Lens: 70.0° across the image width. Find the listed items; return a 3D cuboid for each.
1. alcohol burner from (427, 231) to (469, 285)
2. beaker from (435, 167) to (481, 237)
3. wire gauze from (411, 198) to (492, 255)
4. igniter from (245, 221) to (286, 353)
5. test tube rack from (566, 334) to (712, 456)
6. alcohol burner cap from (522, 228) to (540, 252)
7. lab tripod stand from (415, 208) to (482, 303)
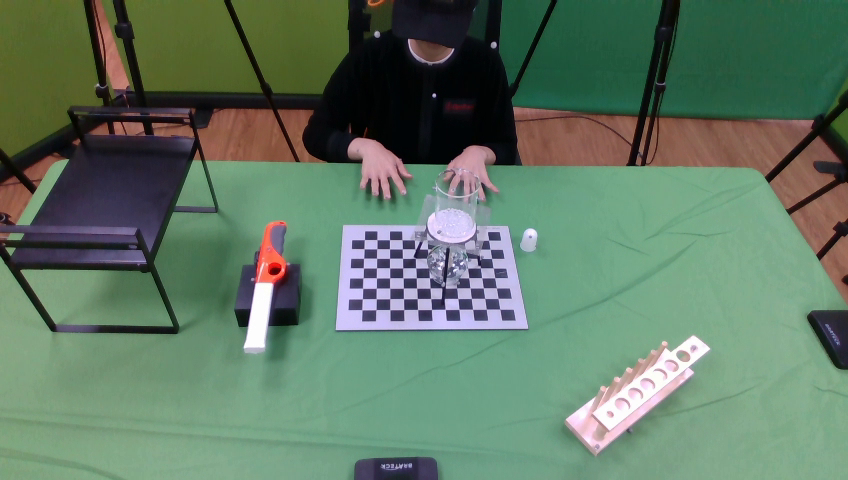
[{"bbox_3d":[0.046,0.027,1.103,0.078,0.119,0.077,3,45,-3],"label":"alcohol burner"},{"bbox_3d":[0.054,-0.063,1.016,0.074,0.101,0.083,5,45,3],"label":"beaker"},{"bbox_3d":[0.049,-0.029,1.052,0.125,0.011,0.121,10,44,12],"label":"wire gauze"},{"bbox_3d":[-0.270,0.070,1.040,0.057,0.025,0.274,2,48,-6],"label":"igniter"},{"bbox_3d":[0.339,0.228,0.950,0.242,0.085,0.066,-26,52,-26],"label":"test tube rack"},{"bbox_3d":[0.214,-0.003,1.198,0.034,0.048,0.033,1,46,-1],"label":"alcohol burner cap"},{"bbox_3d":[0.043,0.019,1.097,0.148,0.132,0.147,0,47,0],"label":"lab tripod stand"}]
